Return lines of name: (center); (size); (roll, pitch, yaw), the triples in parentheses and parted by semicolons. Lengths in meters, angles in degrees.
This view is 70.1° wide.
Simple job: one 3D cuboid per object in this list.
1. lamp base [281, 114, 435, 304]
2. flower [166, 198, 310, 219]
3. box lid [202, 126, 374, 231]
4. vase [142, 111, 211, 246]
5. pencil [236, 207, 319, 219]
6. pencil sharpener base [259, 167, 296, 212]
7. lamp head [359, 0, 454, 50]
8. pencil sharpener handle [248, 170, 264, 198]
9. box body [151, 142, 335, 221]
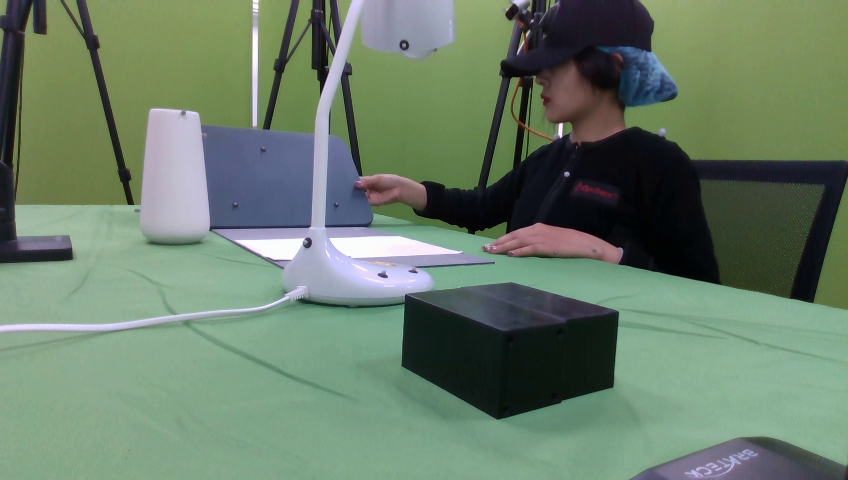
lamp base: (-0.071, -0.035, 0.614); (0.160, 0.180, 0.180); (6, 10, 27)
flower: (-0.399, -0.060, 1.357); (0.044, 0.038, 0.364); (-36, -23, 32)
box lid: (-0.296, -0.128, 1.234); (0.373, 0.262, 0.015); (-2, -35, -32)
vase: (-0.378, -0.093, 0.920); (0.098, 0.200, 0.098); (2, 9, 0)
pencil: (-0.346, -0.063, 1.433); (0.194, 0.012, 0.012); (6, 7, -4)
pencil sharpener base: (-0.357, -0.123, 1.467); (0.077, 0.107, 0.061); (-3, 7, -33)
lamp head: (-0.024, -0.283, 0.674); (0.112, 0.123, 0.112); (-3, 38, 3)
pencil sharpener handle: (-0.401, -0.133, 1.440); (0.031, 0.067, 0.036); (-3, 15, -33)
box body: (-0.413, -0.135, 1.379); (0.366, 0.160, 0.253); (-2, 9, -31)
